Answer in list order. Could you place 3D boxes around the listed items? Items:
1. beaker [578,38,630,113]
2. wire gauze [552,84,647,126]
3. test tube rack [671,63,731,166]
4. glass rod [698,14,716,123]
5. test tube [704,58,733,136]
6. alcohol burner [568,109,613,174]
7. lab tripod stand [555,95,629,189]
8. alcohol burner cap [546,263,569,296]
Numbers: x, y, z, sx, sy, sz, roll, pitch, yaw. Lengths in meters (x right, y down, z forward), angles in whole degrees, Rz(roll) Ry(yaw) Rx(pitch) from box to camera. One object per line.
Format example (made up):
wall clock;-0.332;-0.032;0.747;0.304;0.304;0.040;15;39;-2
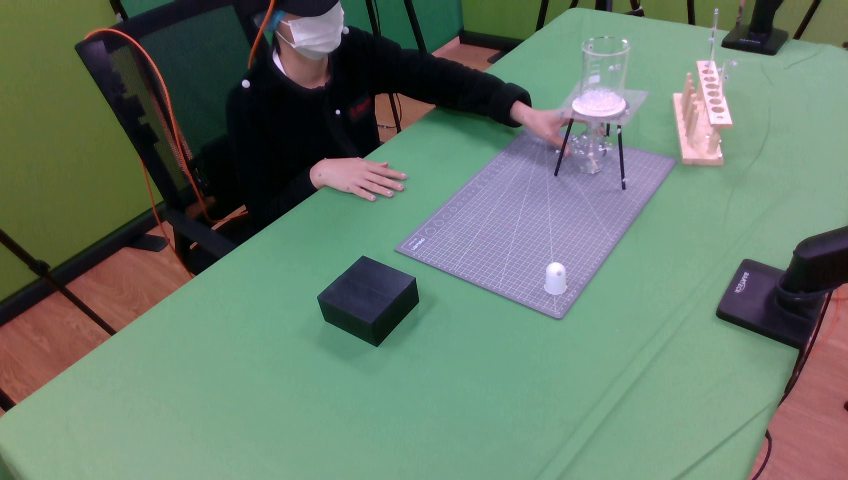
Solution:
beaker;0.290;-0.265;0.976;0.084;0.101;0.073;-18;41;-14
wire gauze;0.293;-0.224;1.004;0.120;0.011;0.125;19;43;26
test tube rack;0.513;-0.241;1.132;0.066;0.085;0.242;4;41;14
glass rod;0.531;-0.320;1.136;0.008;0.200;0.008;3;12;0
test tube;0.516;-0.247;1.062;0.017;0.151;0.017;-3;43;4
alcohol burner;0.295;-0.178;1.066;0.078;0.119;0.077;-4;41;4
lab tripod stand;0.300;-0.174;1.045;0.148;0.132;0.147;-5;38;5
alcohol burner cap;0.191;0.053;0.862;0.034;0.048;0.033;-5;40;4
